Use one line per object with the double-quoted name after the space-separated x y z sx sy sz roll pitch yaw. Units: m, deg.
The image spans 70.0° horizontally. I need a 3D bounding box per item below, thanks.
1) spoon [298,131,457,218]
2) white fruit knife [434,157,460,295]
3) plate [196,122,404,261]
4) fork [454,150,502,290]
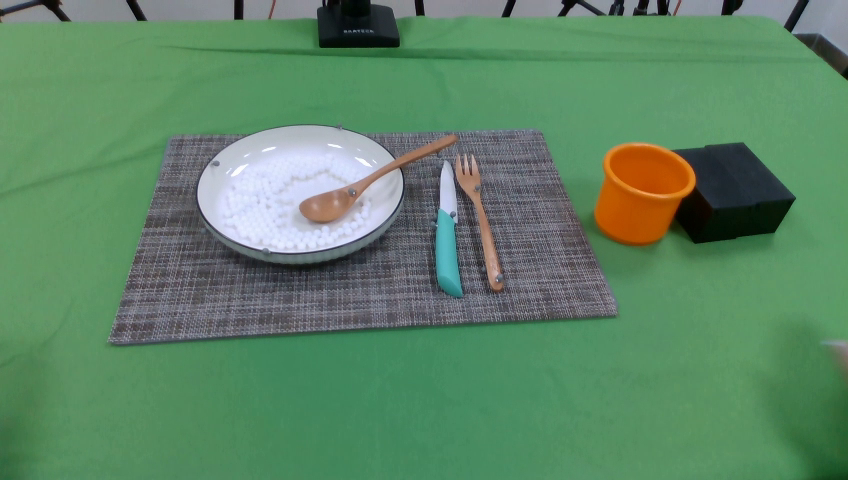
-0.044 -0.072 0.637 0.194 0.022 0.041 -31 53 -16 "spoon"
0.023 -0.025 0.635 0.027 0.016 0.205 27 38 -22 "white fruit knife"
-0.124 -0.050 0.629 0.209 0.038 0.207 2 44 -2 "plate"
0.057 -0.029 0.636 0.028 0.019 0.205 6 42 -15 "fork"
